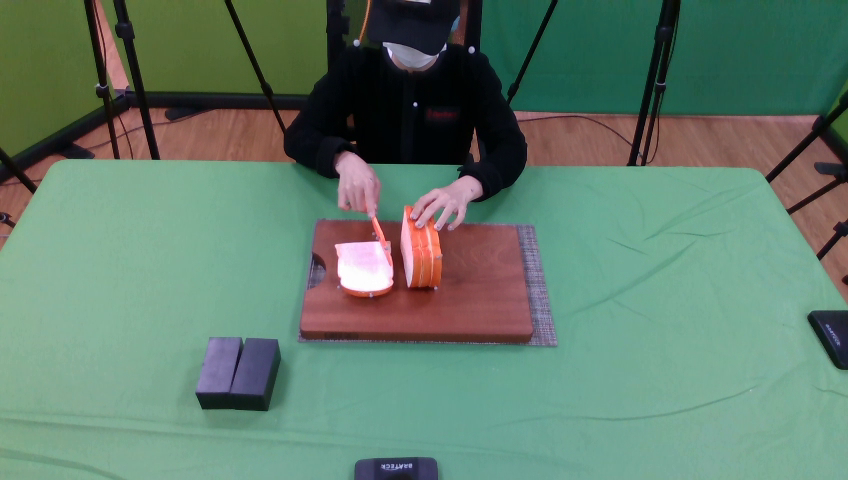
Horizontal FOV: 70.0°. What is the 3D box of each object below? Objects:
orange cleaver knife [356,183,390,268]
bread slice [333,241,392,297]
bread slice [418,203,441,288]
[{"bbox_3d":[-0.093,-0.031,1.106,0.012,0.077,0.210,-18,39,-7],"label":"orange cleaver knife"},{"bbox_3d":[-0.110,0.052,1.096,0.105,0.019,0.130,-2,43,-8],"label":"bread slice"},{"bbox_3d":[0.009,0.019,1.089,0.018,0.107,0.133,-5,54,-9],"label":"bread slice"}]
